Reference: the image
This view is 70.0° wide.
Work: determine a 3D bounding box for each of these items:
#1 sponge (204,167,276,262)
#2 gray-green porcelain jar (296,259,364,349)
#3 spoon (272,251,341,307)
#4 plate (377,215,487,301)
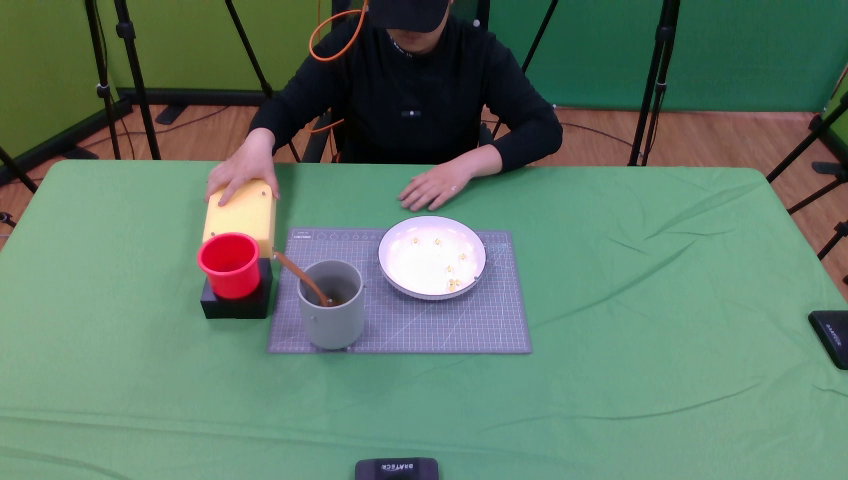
[{"bbox_3d":[-0.358,-0.054,1.196,0.118,0.061,0.205,-4,47,-7],"label":"sponge"},{"bbox_3d":[-0.152,0.111,1.003,0.106,0.127,0.105,2,46,-2],"label":"gray-green porcelain jar"},{"bbox_3d":[-0.181,0.077,0.981,0.021,0.195,0.041,-8,46,28],"label":"spoon"},{"bbox_3d":[0.014,0.037,1.147,0.208,0.039,0.206,2,46,-2],"label":"plate"}]
